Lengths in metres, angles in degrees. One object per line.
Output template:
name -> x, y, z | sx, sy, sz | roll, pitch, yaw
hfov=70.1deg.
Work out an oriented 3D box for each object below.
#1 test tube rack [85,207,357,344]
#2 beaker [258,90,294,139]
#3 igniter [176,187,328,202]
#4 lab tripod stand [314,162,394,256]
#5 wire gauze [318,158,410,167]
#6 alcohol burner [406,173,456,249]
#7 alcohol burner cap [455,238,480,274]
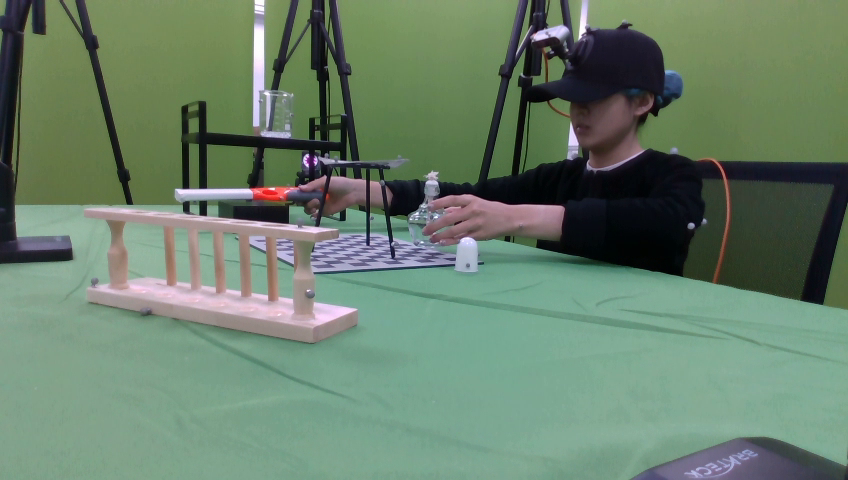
test tube rack -> -0.177, 0.022, 0.518 | 0.241, 0.085, 0.067 | 6, 7, 23
beaker -> -0.324, -0.274, 1.331 | 0.083, 0.100, 0.074 | 7, 9, 24
igniter -> -0.313, -0.085, 1.128 | 0.278, 0.025, 0.057 | -3, 20, -33
lab tripod stand -> -0.098, -0.048, 0.897 | 0.148, 0.131, 0.148 | 1, 6, 0
wire gauze -> -0.090, -0.114, 0.888 | 0.122, 0.011, 0.124 | 0, 6, -15
alcohol burner -> 0.011, -0.046, 0.943 | 0.078, 0.119, 0.078 | 2, 11, 0
alcohol burner cap -> 0.058, 0.022, 0.798 | 0.034, 0.048, 0.034 | 3, 6, 0
